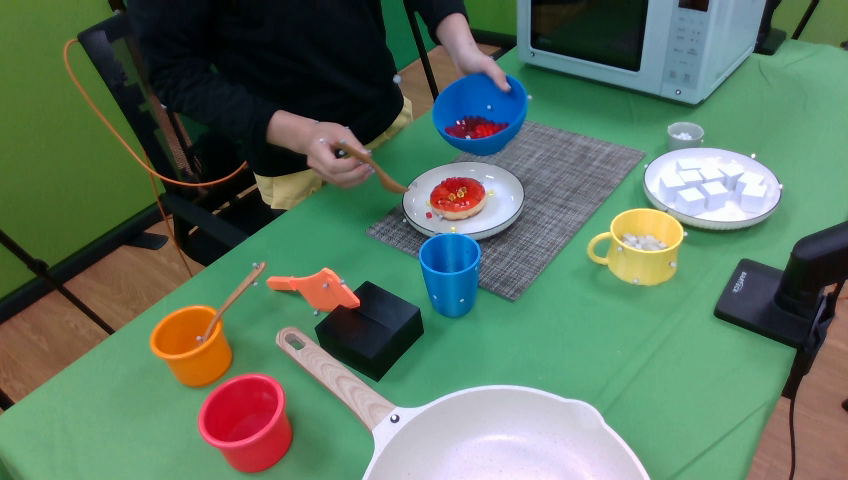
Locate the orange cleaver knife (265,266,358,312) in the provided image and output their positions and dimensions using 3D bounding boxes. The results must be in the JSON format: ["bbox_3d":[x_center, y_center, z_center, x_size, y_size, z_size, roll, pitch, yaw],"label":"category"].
[{"bbox_3d":[-0.164,0.073,0.864,0.210,0.077,0.012,-6,31,50],"label":"orange cleaver knife"}]

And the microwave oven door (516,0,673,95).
[{"bbox_3d":[0.344,-0.458,1.257,0.353,0.245,0.039,26,51,33],"label":"microwave oven door"}]

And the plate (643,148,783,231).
[{"bbox_3d":[0.464,-0.079,0.985,0.207,0.039,0.206,-4,41,4],"label":"plate"}]

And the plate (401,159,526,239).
[{"bbox_3d":[0.067,-0.065,1.019,0.209,0.038,0.208,-4,41,4],"label":"plate"}]

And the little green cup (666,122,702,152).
[{"bbox_3d":[0.471,-0.184,1.102,0.061,0.039,0.061,-5,41,5],"label":"little green cup"}]

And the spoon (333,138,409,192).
[{"bbox_3d":[-0.075,-0.105,0.858,0.041,0.195,0.021,12,77,28],"label":"spoon"}]

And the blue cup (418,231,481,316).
[{"bbox_3d":[0.040,0.053,0.843,0.092,0.100,0.092,-4,43,4],"label":"blue cup"}]

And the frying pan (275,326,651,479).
[{"bbox_3d":[0.003,0.229,0.641,0.484,0.103,0.308,34,54,28],"label":"frying pan"}]

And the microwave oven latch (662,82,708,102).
[{"bbox_3d":[0.518,-0.298,1.203,0.078,0.029,0.030,28,53,35],"label":"microwave oven latch"}]

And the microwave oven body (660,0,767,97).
[{"bbox_3d":[0.473,-0.517,1.313,0.438,0.261,0.327,26,51,34],"label":"microwave oven body"}]

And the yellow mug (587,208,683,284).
[{"bbox_3d":[0.305,0.009,0.884,0.131,0.064,0.099,-4,41,5],"label":"yellow mug"}]

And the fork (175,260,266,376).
[{"bbox_3d":[-0.268,0.102,0.792,0.207,0.019,0.028,-51,41,16],"label":"fork"}]

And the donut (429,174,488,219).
[{"bbox_3d":[0.058,-0.075,1.015,0.099,0.048,0.098,-5,38,5],"label":"donut"}]

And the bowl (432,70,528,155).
[{"bbox_3d":[0.094,-0.188,0.957,0.151,0.077,0.150,-7,54,11],"label":"bowl"}]
